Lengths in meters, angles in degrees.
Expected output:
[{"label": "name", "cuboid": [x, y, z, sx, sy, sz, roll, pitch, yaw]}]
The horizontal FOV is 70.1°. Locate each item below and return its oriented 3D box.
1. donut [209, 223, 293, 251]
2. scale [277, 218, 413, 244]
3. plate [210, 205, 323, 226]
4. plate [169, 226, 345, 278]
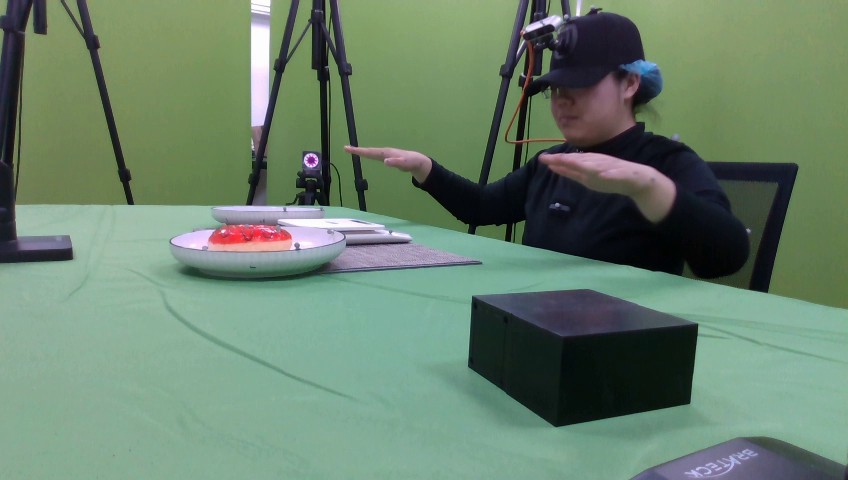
[{"label": "donut", "cuboid": [-0.210, 0.004, 0.738, 0.099, 0.048, 0.099, 0, 8, 0]}, {"label": "scale", "cuboid": [-0.134, -0.016, 1.015, 0.202, 0.031, 0.148, -1, 9, -33]}, {"label": "plate", "cuboid": [-0.298, -0.043, 1.152, 0.208, 0.039, 0.207, 2, 5, 0]}, {"label": "plate", "cuboid": [-0.202, 0.014, 0.748, 0.209, 0.038, 0.209, 1, 9, 0]}]
